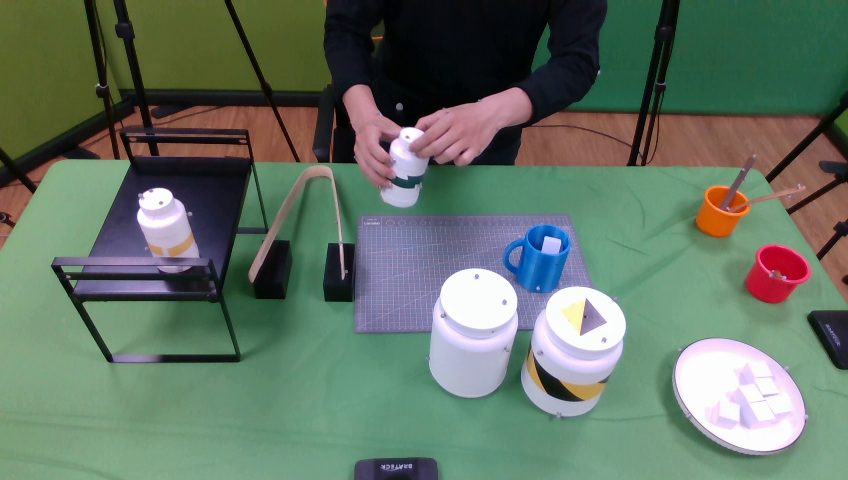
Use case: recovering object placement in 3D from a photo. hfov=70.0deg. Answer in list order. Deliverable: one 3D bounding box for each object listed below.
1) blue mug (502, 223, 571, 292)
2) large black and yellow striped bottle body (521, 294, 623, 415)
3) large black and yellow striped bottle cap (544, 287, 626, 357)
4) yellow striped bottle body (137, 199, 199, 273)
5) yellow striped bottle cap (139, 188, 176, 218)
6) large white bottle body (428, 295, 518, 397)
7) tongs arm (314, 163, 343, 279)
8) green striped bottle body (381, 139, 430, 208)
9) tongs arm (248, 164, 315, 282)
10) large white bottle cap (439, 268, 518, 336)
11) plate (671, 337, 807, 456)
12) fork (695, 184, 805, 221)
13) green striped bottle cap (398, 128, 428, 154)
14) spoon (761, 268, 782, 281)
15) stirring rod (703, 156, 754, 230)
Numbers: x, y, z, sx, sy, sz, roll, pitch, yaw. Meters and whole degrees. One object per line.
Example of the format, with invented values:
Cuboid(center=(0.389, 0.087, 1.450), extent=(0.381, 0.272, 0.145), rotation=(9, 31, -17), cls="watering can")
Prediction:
Cuboid(center=(0.202, 0.031, 1.121), extent=(0.116, 0.106, 0.082), rotation=(5, 46, 1), cls="blue mug")
Cuboid(center=(0.228, 0.173, 0.938), extent=(0.131, 0.185, 0.130), rotation=(2, 47, -2), cls="large black and yellow striped bottle body")
Cuboid(center=(0.232, 0.116, 0.876), extent=(0.115, 0.019, 0.114), rotation=(2, 46, -1), cls="large black and yellow striped bottle cap")
Cuboid(center=(-0.366, -0.014, 0.864), extent=(0.063, 0.121, 0.062), rotation=(2, 46, -2), cls="yellow striped bottle body")
Cuboid(center=(-0.363, -0.051, 0.826), extent=(0.044, 0.019, 0.044), rotation=(1, 47, -1), cls="yellow striped bottle cap")
Cuboid(center=(0.075, 0.147, 0.950), extent=(0.131, 0.185, 0.130), rotation=(2, 47, -2), cls="large white bottle body")
Cuboid(center=(-0.188, -0.049, 1.170), extent=(0.051, 0.026, 0.382), rotation=(-6, 35, -6), cls="tongs arm")
Cuboid(center=(-0.028, -0.114, 0.958), extent=(0.063, 0.120, 0.063), rotation=(10, 43, -9), cls="green striped bottle body")
Cuboid(center=(-0.269, -0.047, 1.166), extent=(0.028, 0.028, 0.385), rotation=(-1, 34, 7), cls="tongs arm")
Cuboid(center=(0.080, 0.089, 0.888), extent=(0.115, 0.018, 0.114), rotation=(2, 47, -2), cls="large white bottle cap")
Cuboid(center=(0.504, 0.253, 0.984), extent=(0.208, 0.039, 0.206), rotation=(2, 46, -2), cls="plate")
Cuboid(center=(0.657, -0.075, 1.230), extent=(0.207, 0.019, 0.028), rotation=(-23, 34, 37), cls="fork")
Cuboid(center=(-0.016, -0.151, 0.923), extent=(0.044, 0.020, 0.044), rotation=(13, 39, -11), cls="green striped bottle cap")
Cuboid(center=(0.638, 0.060, 1.105), extent=(0.041, 0.021, 0.194), rotation=(38, 11, 24), cls="spoon")
Cuboid(center=(0.631, -0.098, 1.258), extent=(0.014, 0.006, 0.176), rotation=(33, 95, 29), cls="stirring rod")
